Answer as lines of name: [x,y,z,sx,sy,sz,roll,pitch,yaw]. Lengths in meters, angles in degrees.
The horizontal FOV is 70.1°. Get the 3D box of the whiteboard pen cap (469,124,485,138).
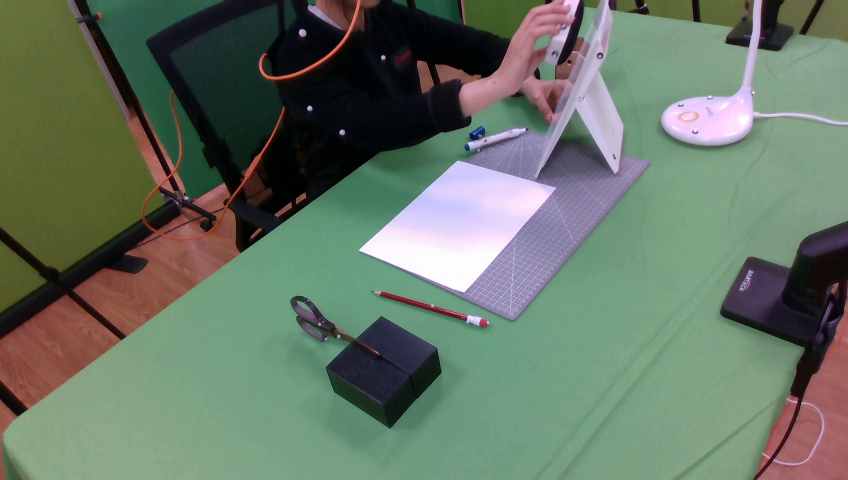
whiteboard pen cap: [0.107,-0.220,1.224,0.033,0.018,0.018,-37,48,-24]

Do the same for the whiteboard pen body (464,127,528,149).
whiteboard pen body: [0.144,-0.204,1.192,0.141,0.017,0.017,-19,41,-15]

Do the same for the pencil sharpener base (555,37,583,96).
pencil sharpener base: [0.318,-0.371,1.290,0.061,0.107,0.076,10,44,22]

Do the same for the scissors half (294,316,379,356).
scissors half: [-0.119,0.132,0.813,0.174,0.040,0.013,9,32,44]

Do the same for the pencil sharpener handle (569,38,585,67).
pencil sharpener handle: [0.332,-0.413,1.318,0.036,0.068,0.030,19,46,13]

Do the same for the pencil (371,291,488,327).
pencil: [0.003,0.097,0.877,0.193,0.012,0.012,13,45,26]

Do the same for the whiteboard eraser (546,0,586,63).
whiteboard eraser: [0.228,-0.338,0.961,0.042,0.056,0.112,18,63,6]

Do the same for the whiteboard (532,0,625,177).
whiteboard: [0.320,-0.258,1.050,0.144,0.306,0.217,21,45,4]

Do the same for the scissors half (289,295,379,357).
scissors half: [-0.122,0.114,0.803,0.174,0.040,0.013,26,48,32]

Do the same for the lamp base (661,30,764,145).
lamp base: [0.535,-0.287,1.096,0.179,0.181,0.159,-10,40,-4]
